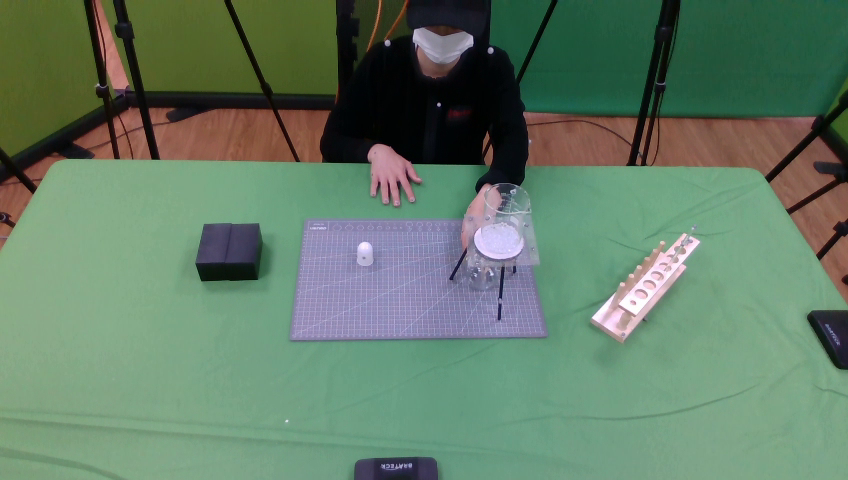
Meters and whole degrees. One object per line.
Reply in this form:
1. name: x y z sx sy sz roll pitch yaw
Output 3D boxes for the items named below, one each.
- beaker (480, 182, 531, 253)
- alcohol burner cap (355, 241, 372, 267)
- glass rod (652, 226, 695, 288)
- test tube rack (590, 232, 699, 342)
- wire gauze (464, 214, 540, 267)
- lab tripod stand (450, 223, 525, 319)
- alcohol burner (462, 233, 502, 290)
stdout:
1. beaker: 0.133 -0.033 0.998 0.083 0.101 0.074 26 51 22
2. alcohol burner cap: -0.114 0.024 1.147 0.034 0.048 0.033 2 45 -2
3. glass rod: 0.432 0.037 1.057 0.008 0.200 0.008 1 54 -1
4. test tube rack: 0.407 0.074 1.112 0.066 0.085 0.242 35 53 26
5. wire gauze: 0.131 -0.001 1.035 0.121 0.011 0.124 1 44 -2
6. lab tripod stand: 0.120 0.046 1.080 0.148 0.132 0.147 1 47 -1
7. alcohol burner: 0.108 0.035 1.104 0.078 0.120 0.077 1 44 0
